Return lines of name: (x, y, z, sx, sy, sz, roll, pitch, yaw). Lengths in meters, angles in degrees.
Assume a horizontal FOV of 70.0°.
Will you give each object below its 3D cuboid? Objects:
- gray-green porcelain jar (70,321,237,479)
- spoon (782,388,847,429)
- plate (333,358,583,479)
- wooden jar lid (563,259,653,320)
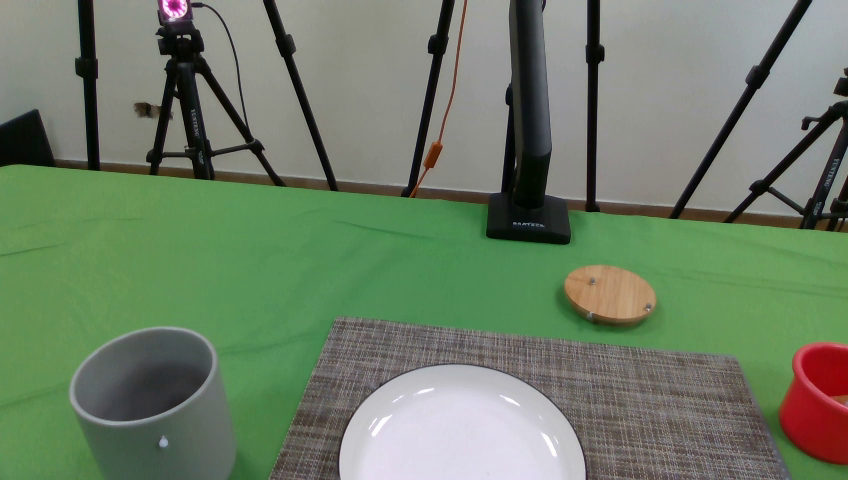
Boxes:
gray-green porcelain jar: (-0.213, 0.148, 0.495, 0.106, 0.127, 0.105, 2, 34, -1)
spoon: (0.423, 0.126, 0.542, 0.194, 0.022, 0.041, -35, 21, 28)
plate: (0.028, 0.188, 0.520, 0.208, 0.039, 0.205, 2, 34, -1)
wooden jar lid: (0.224, 0.061, 0.743, 0.108, 0.021, 0.107, 2, 35, -1)
